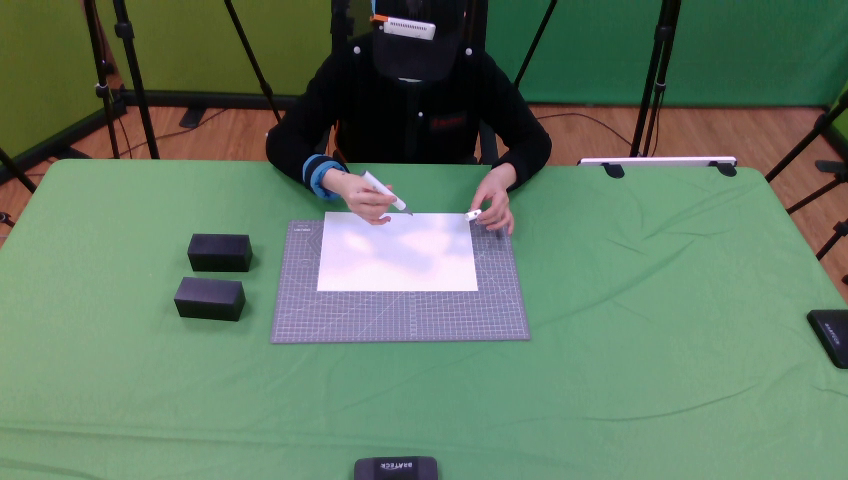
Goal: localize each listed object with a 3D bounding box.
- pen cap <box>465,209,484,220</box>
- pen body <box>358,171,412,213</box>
[{"bbox_3d":[0.098,-0.049,1.170,0.038,0.017,0.017,-15,48,-30],"label":"pen cap"},{"bbox_3d":[-0.067,-0.083,1.111,0.017,0.145,0.017,-23,50,31],"label":"pen body"}]
